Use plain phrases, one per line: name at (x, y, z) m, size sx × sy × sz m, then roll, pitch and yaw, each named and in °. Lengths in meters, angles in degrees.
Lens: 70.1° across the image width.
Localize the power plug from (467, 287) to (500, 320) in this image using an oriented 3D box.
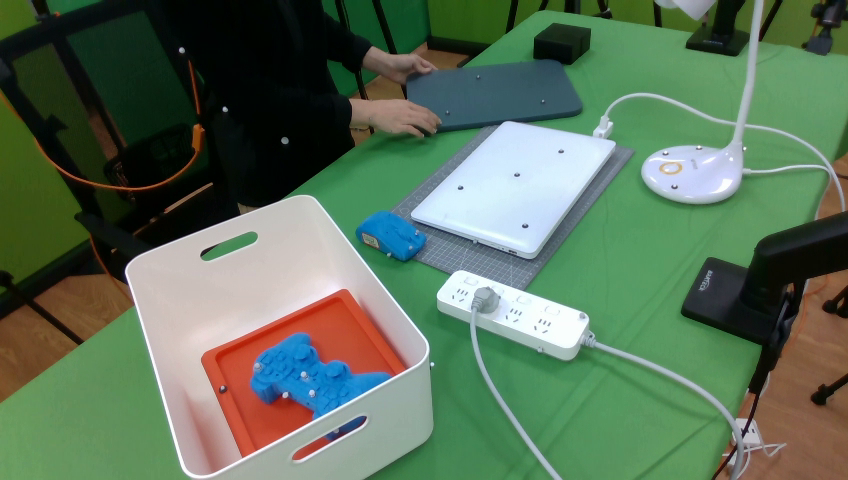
power plug at (0.073, 0.092, 0.814) m, size 0.035 × 0.053 × 0.073 m, roll 29°, pitch 54°, yaw 34°

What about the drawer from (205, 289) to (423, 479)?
drawer at (-0.134, 0.189, 0.743) m, size 0.195 × 0.073 × 0.210 m, roll -25°, pitch 54°, yaw -21°

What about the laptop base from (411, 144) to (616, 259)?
laptop base at (0.168, -0.101, 1.073) m, size 0.234 × 0.023 × 0.355 m, roll 17°, pitch 46°, yaw 30°

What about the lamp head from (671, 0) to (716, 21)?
lamp head at (0.375, -0.373, 0.807) m, size 0.122 × 0.113 × 0.112 m, roll -40°, pitch 27°, yaw 32°

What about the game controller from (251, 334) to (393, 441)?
game controller at (-0.120, 0.155, 0.676) m, size 0.154 × 0.052 × 0.097 m, roll 20°, pitch 51°, yaw 28°

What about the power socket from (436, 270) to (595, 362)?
power socket at (0.119, 0.101, 0.832) m, size 0.225 × 0.033 × 0.072 m, roll 19°, pitch 48°, yaw 27°

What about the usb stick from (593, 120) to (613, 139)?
usb stick at (0.336, -0.201, 1.147) m, size 0.021 × 0.027 × 0.059 m, roll 26°, pitch 53°, yaw 26°

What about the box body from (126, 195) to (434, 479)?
box body at (-0.175, 0.131, 0.737) m, size 0.255 × 0.161 × 0.360 m, roll -25°, pitch 43°, yaw -19°

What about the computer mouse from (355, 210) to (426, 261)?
computer mouse at (-0.055, -0.010, 0.979) m, size 0.116 × 0.041 × 0.063 m, roll 27°, pitch 49°, yaw 29°

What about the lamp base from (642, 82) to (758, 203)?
lamp base at (0.464, -0.174, 0.992) m, size 0.179 × 0.181 × 0.159 m, roll -5°, pitch 41°, yaw -1°

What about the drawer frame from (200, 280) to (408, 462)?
drawer frame at (-0.132, 0.176, 0.729) m, size 0.202 × 0.083 × 0.211 m, roll -27°, pitch 50°, yaw -19°

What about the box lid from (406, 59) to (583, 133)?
box lid at (0.147, -0.324, 1.341) m, size 0.372 × 0.015 × 0.261 m, roll -7°, pitch 41°, yaw 0°

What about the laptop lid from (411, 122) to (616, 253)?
laptop lid at (0.165, -0.111, 1.067) m, size 0.240 × 0.013 × 0.357 m, roll 19°, pitch 46°, yaw 31°
